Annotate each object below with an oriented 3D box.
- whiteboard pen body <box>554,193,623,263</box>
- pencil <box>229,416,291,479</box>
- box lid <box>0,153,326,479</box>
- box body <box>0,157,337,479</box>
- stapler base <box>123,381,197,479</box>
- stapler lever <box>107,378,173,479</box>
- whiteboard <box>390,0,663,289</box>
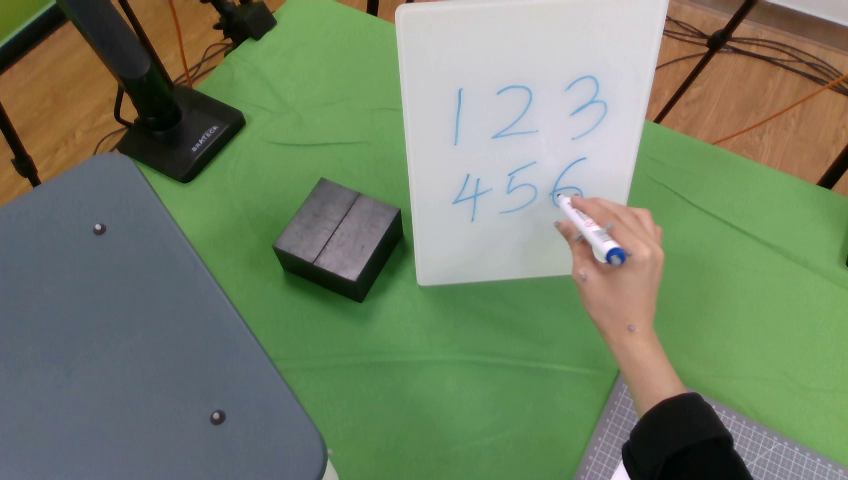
[{"bbox_3d":[0.136,-0.016,0.521,0.017,0.017,0.139,-9,25,-4],"label":"whiteboard pen body"},{"bbox_3d":[-0.187,0.234,0.542,0.012,0.012,0.193,30,53,18],"label":"pencil"},{"bbox_3d":[-0.273,0.103,0.456,0.263,0.015,0.368,-35,66,-18],"label":"box lid"},{"bbox_3d":[-0.270,0.141,0.519,0.254,0.162,0.361,-35,65,-17],"label":"box body"},{"bbox_3d":[-0.251,0.191,0.559,0.041,0.025,0.129,0,62,21],"label":"stapler base"},{"bbox_3d":[-0.257,0.181,0.538,0.026,0.040,0.117,0,61,21],"label":"stapler lever"},{"bbox_3d":[0.085,-0.116,0.616,0.217,0.308,0.142,-4,40,-1],"label":"whiteboard"}]
